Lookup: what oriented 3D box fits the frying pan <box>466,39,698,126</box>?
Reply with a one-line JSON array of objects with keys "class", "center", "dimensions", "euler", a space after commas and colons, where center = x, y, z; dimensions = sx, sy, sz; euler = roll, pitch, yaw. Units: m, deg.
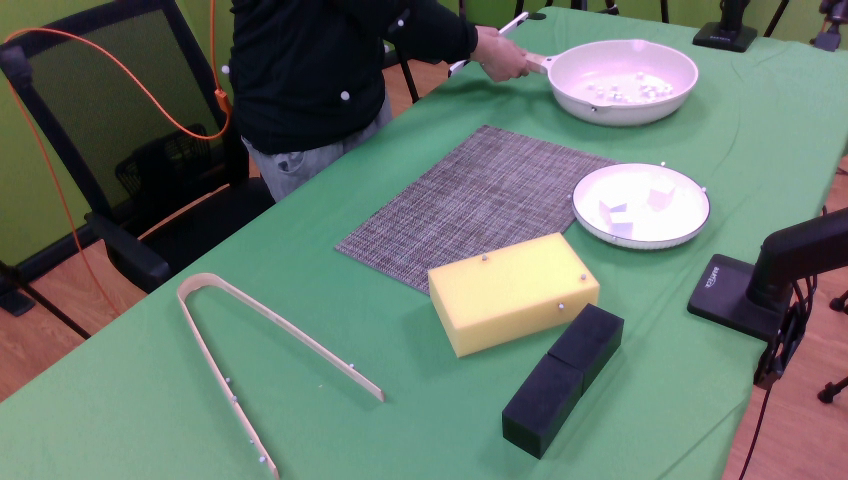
[{"class": "frying pan", "center": [0.312, -0.359, 1.277], "dimensions": [0.485, 0.103, 0.307], "euler": [22, 47, 19]}]

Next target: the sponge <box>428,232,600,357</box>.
[{"class": "sponge", "center": [0.120, 0.071, 0.834], "dimensions": [0.207, 0.061, 0.117], "euler": [-15, 43, -12]}]

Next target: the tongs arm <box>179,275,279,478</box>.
[{"class": "tongs arm", "center": [-0.260, 0.161, 0.807], "dimensions": [0.051, 0.026, 0.381], "euler": [-29, 44, -25]}]

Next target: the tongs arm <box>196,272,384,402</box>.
[{"class": "tongs arm", "center": [-0.198, 0.126, 0.847], "dimensions": [0.384, 0.028, 0.028], "euler": [25, 52, 32]}]

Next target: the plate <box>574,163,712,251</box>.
[{"class": "plate", "center": [0.345, -0.050, 0.966], "dimensions": [0.207, 0.039, 0.206], "euler": [-4, 40, 4]}]
